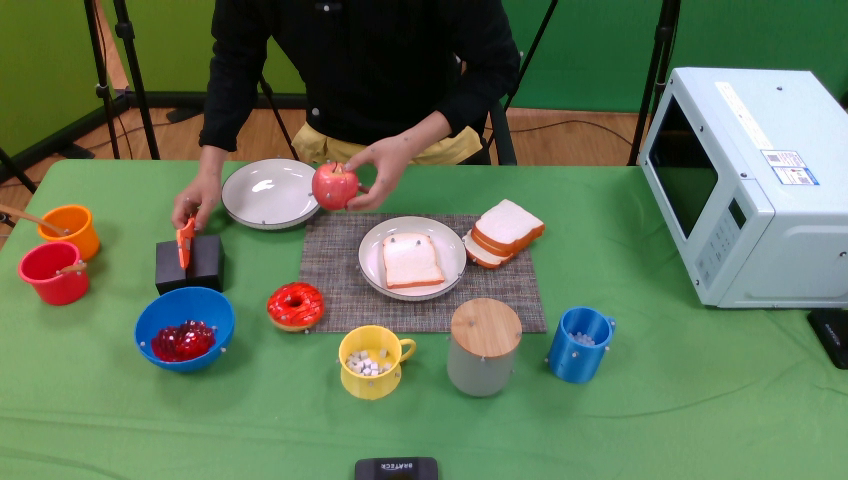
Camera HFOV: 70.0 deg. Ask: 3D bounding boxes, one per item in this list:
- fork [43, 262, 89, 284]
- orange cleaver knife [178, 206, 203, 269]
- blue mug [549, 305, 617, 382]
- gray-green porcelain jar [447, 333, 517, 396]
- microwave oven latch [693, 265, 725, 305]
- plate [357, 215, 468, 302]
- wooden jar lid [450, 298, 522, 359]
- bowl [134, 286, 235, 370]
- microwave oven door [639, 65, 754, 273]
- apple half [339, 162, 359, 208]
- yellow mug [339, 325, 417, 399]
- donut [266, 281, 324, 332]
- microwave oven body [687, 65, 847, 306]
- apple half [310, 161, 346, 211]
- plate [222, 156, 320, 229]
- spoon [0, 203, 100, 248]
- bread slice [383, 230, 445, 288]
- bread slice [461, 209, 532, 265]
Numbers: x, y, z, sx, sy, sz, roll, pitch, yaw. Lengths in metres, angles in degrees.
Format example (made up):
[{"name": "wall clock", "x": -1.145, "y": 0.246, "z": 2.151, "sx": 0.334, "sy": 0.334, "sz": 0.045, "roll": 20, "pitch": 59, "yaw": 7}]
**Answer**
[{"name": "fork", "x": -0.599, "y": 0.053, "z": 1.013, "sx": 0.207, "sy": 0.019, "sz": 0.028, "roll": -14, "pitch": 30, "yaw": 45}, {"name": "orange cleaver knife", "x": -0.431, "y": -0.009, "z": 1.126, "sx": 0.012, "sy": 0.077, "sz": 0.210, "roll": -5, "pitch": 20, "yaw": -9}, {"name": "blue mug", "x": 0.269, "y": 0.166, "z": 0.998, "sx": 0.116, "sy": 0.106, "sz": 0.082, "roll": -19, "pitch": 51, "yaw": -21}, {"name": "gray-green porcelain jar", "x": 0.091, "y": 0.178, "z": 0.960, "sx": 0.106, "sy": 0.127, "sz": 0.105, "roll": 2, "pitch": 47, "yaw": -2}, {"name": "microwave oven latch", "x": 0.522, "y": 0.081, "z": 1.115, "sx": 0.030, "sy": 0.029, "sz": 0.078, "roll": 2, "pitch": 46, "yaw": -1}, {"name": "plate", "x": -0.022, "y": 0.037, "z": 1.141, "sx": 0.208, "sy": 0.039, "sz": 0.206, "roll": 2, "pitch": 46, "yaw": -2}, {"name": "wooden jar lid", "x": 0.093, "y": 0.135, "z": 0.914, "sx": 0.108, "sy": 0.021, "sz": 0.107, "roll": 3, "pitch": 48, "yaw": -3}, {"name": "bowl", "x": -0.377, "y": 0.155, "z": 0.981, "sx": 0.151, "sy": 0.077, "sz": 0.150, "roll": 2, "pitch": 46, "yaw": -2}, {"name": "microwave oven door", "x": 0.522, "y": -0.147, "z": 1.192, "sx": 0.039, "sy": 0.245, "sz": 0.353, "roll": 0, "pitch": 47, "yaw": -3}, {"name": "apple half", "x": -0.132, "y": -0.095, "z": 1.055, "sx": 0.033, "sy": 0.081, "sz": 0.080, "roll": -5, "pitch": 47, "yaw": -19}, {"name": "yellow mug", "x": -0.072, "y": 0.190, "z": 0.978, "sx": 0.131, "sy": 0.064, "sz": 0.099, "roll": -17, "pitch": 50, "yaw": -20}, {"name": "donut", "x": -0.222, "y": 0.115, "z": 1.049, "sx": 0.099, "sy": 0.048, "sz": 0.098, "roll": 2, "pitch": 46, "yaw": -2}, {"name": "microwave oven body", "x": 0.669, "y": -0.111, "z": 1.176, "sx": 0.326, "sy": 0.261, "sz": 0.439, "roll": 0, "pitch": 46, "yaw": -3}, {"name": "apple half", "x": -0.168, "y": -0.092, "z": 1.039, "sx": 0.053, "sy": 0.075, "sz": 0.080, "roll": -5, "pitch": 47, "yaw": -21}, {"name": "plate", "x": -0.308, "y": -0.095, "z": 1.251, "sx": 0.209, "sy": 0.038, "sz": 0.208, "roll": 3, "pitch": 47, "yaw": -3}, {"name": "spoon", "x": -0.683, "y": -0.031, "z": 1.088, "sx": 0.195, "sy": 0.021, "sz": 0.041, "roll": 33, "pitch": 33, "yaw": -38}, {"name": "bread slice", "x": -0.028, "y": 0.035, "z": 1.145, "sx": 0.107, "sy": 0.018, "sz": 0.133, "roll": -7, "pitch": 48, "yaw": -12}, {"name": "bread slice", "x": 0.135, "y": -0.004, "z": 1.193, "sx": 0.104, "sy": 0.019, "sz": 0.131, "roll": 30, "pitch": 51, "yaw": 26}]
